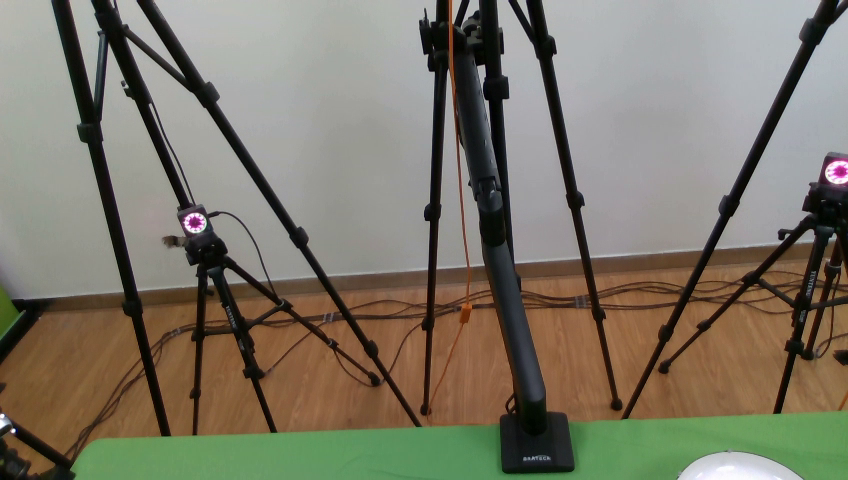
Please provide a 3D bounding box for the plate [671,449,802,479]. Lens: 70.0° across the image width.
[{"bbox_3d":[0.440,0.387,0.829,0.207,0.039,0.205,-6,36,5],"label":"plate"}]
